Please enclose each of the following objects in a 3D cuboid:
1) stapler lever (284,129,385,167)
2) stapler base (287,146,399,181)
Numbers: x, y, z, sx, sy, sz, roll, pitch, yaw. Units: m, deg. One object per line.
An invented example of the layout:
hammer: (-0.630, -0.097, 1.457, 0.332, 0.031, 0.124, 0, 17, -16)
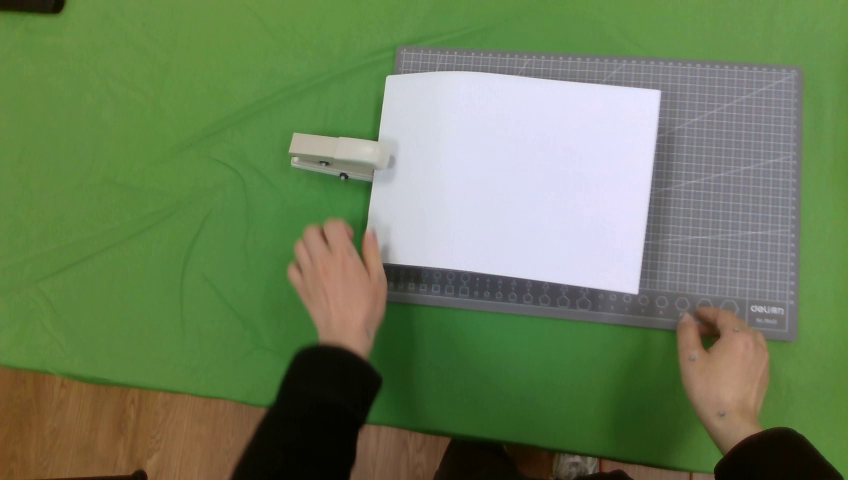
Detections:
stapler lever: (-0.100, -0.102, 0.663, 0.118, 0.040, 0.027, 11, 81, 9)
stapler base: (-0.095, -0.098, 0.687, 0.130, 0.024, 0.041, 11, 82, 10)
